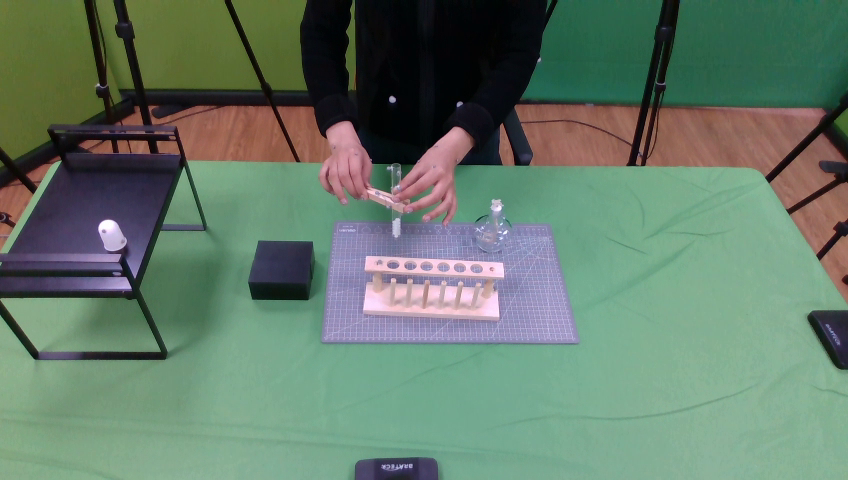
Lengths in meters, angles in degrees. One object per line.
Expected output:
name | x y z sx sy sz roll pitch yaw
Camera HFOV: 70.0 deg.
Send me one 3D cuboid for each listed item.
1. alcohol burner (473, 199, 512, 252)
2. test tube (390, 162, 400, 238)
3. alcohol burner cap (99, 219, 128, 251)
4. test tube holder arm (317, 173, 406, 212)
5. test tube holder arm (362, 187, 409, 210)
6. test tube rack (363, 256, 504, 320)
alcohol burner | 0.134 -0.034 1.174 0.078 0.120 0.077 1 47 -1
test tube | -0.047 -0.063 1.013 0.017 0.151 0.017 1 40 -1
alcohol burner cap | -0.467 -0.010 0.907 0.034 0.048 0.033 2 47 -2
test tube holder arm | -0.109 -0.083 1.033 0.178 0.015 0.013 20 32 20
test tube holder arm | -0.067 -0.071 1.024 0.087 0.015 0.010 17 32 15
test tube rack | 0.015 0.085 1.069 0.242 0.085 0.066 3 46 -2
